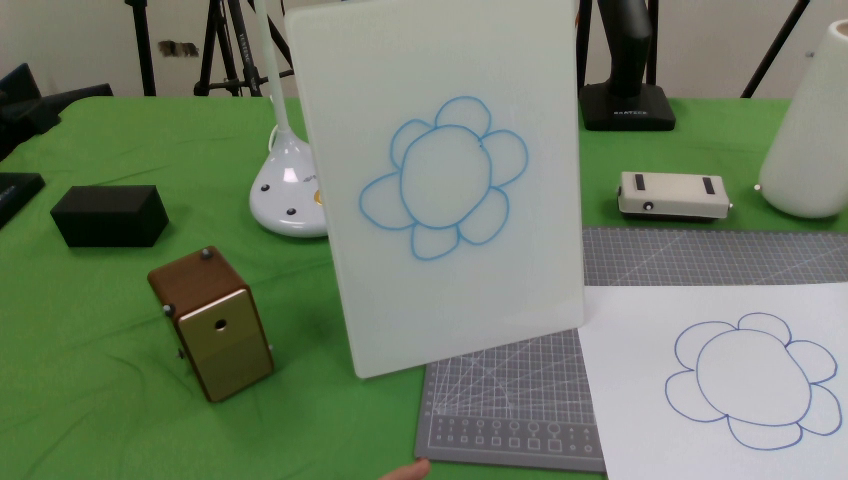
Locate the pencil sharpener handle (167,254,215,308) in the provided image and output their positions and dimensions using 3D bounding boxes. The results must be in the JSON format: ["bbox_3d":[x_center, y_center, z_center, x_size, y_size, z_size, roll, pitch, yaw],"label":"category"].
[{"bbox_3d":[-0.209,0.033,0.542,0.036,0.068,0.030,-34,47,-20],"label":"pencil sharpener handle"}]

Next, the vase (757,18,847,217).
[{"bbox_3d":[0.427,-0.123,0.635,0.098,0.202,0.097,-1,40,1],"label":"vase"}]

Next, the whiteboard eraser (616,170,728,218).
[{"bbox_3d":[0.276,-0.050,0.681,0.112,0.042,0.055,2,37,8],"label":"whiteboard eraser"}]

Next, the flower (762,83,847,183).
[{"bbox_3d":[0.432,-0.176,0.570,0.044,0.364,0.038,-13,58,-22],"label":"flower"}]

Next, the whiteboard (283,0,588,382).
[{"bbox_3d":[0.013,-0.061,0.551,0.217,0.307,0.142,-11,21,-8],"label":"whiteboard"}]

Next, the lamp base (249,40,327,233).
[{"bbox_3d":[-0.142,-0.125,0.690,0.160,0.182,0.177,-32,45,-30],"label":"lamp base"}]

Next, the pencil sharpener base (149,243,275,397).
[{"bbox_3d":[-0.179,0.068,0.517,0.061,0.108,0.076,-28,45,-26],"label":"pencil sharpener base"}]
